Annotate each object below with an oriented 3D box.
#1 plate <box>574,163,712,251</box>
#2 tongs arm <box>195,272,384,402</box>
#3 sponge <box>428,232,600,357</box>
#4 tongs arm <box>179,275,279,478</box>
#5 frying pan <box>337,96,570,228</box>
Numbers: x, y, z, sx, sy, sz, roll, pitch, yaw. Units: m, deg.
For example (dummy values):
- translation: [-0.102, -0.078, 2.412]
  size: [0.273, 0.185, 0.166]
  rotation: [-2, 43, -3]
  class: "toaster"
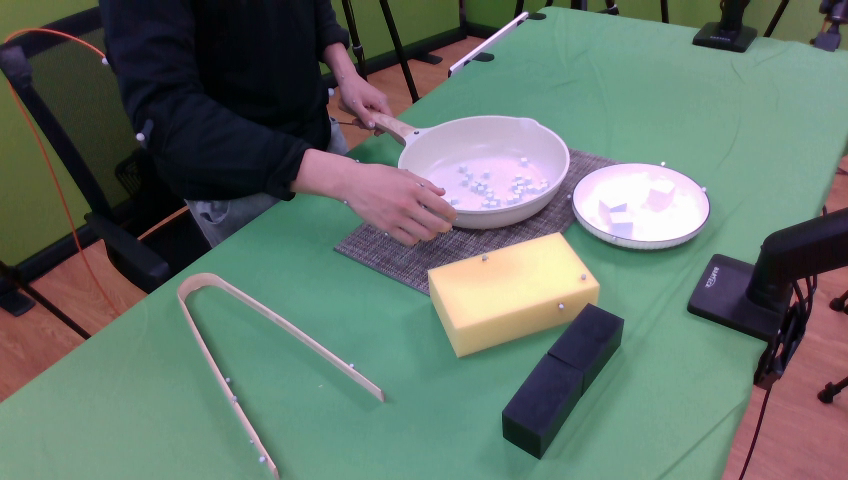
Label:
- translation: [0.345, -0.050, 0.966]
  size: [0.207, 0.039, 0.206]
  rotation: [-4, 40, 4]
  class: "plate"
- translation: [-0.198, 0.125, 0.847]
  size: [0.384, 0.028, 0.028]
  rotation: [25, 52, 32]
  class: "tongs arm"
- translation: [0.120, 0.071, 0.835]
  size: [0.207, 0.061, 0.117]
  rotation: [-16, 43, -11]
  class: "sponge"
- translation: [-0.260, 0.161, 0.807]
  size: [0.051, 0.026, 0.381]
  rotation: [-29, 44, -25]
  class: "tongs arm"
- translation: [0.023, -0.167, 1.090]
  size: [0.484, 0.103, 0.308]
  rotation: [32, 53, 26]
  class: "frying pan"
